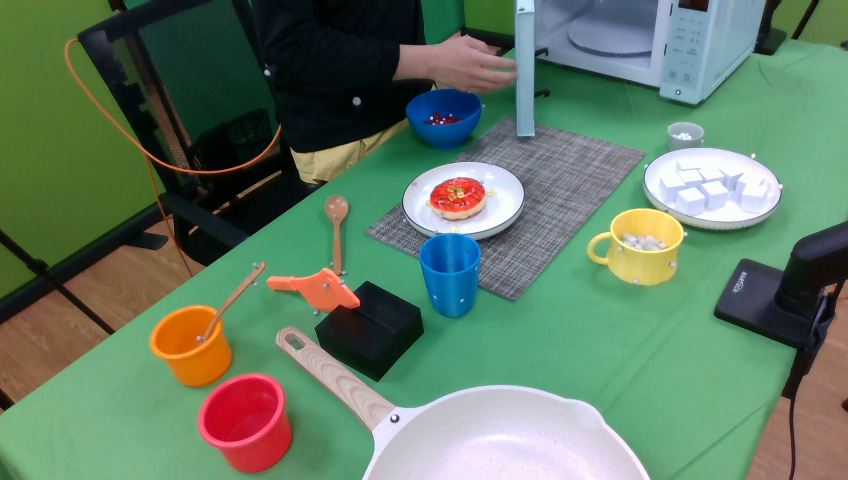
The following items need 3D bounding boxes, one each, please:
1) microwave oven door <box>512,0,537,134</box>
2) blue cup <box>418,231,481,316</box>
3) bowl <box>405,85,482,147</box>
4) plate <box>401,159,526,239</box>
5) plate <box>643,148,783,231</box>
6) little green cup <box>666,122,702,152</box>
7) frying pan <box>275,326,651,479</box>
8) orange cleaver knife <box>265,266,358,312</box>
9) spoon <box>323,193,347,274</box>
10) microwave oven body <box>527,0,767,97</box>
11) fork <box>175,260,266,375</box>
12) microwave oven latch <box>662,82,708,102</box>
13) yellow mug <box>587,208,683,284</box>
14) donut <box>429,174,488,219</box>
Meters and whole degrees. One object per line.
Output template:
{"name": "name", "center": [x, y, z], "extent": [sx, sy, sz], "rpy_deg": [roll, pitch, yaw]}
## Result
{"name": "microwave oven door", "center": [0.202, -0.410, 1.222], "extent": [0.039, 0.245, 0.354], "rpy_deg": [-2, 41, 8]}
{"name": "blue cup", "center": [0.040, 0.053, 0.843], "extent": [0.092, 0.100, 0.092], "rpy_deg": [-4, 43, 4]}
{"name": "bowl", "center": [0.041, -0.237, 1.197], "extent": [0.151, 0.077, 0.150], "rpy_deg": [-4, 41, 4]}
{"name": "plate", "center": [0.067, -0.065, 1.019], "extent": [0.209, 0.038, 0.208], "rpy_deg": [-4, 40, 4]}
{"name": "plate", "center": [0.464, -0.080, 0.986], "extent": [0.207, 0.039, 0.206], "rpy_deg": [-4, 40, 4]}
{"name": "little green cup", "center": [0.471, -0.184, 1.102], "extent": [0.061, 0.039, 0.061], "rpy_deg": [-5, 41, 5]}
{"name": "frying pan", "center": [0.004, 0.229, 0.641], "extent": [0.484, 0.103, 0.308], "rpy_deg": [34, 54, 28]}
{"name": "orange cleaver knife", "center": [-0.164, 0.073, 0.864], "extent": [0.210, 0.077, 0.012], "rpy_deg": [-6, 31, 50]}
{"name": "spoon", "center": [-0.148, -0.014, 1.008], "extent": [0.042, 0.021, 0.192], "rpy_deg": [4, 39, -13]}
{"name": "microwave oven body", "center": [0.473, -0.516, 1.313], "extent": [0.438, 0.261, 0.327], "rpy_deg": [26, 51, 34]}
{"name": "fork", "center": [-0.268, 0.103, 0.792], "extent": [0.207, 0.019, 0.028], "rpy_deg": [-51, 41, 17]}
{"name": "microwave oven latch", "center": [0.517, -0.298, 1.202], "extent": [0.078, 0.029, 0.030], "rpy_deg": [28, 52, 35]}
{"name": "yellow mug", "center": [0.305, 0.009, 0.884], "extent": [0.131, 0.064, 0.099], "rpy_deg": [-4, 41, 5]}
{"name": "donut", "center": [0.058, -0.075, 1.015], "extent": [0.099, 0.048, 0.098], "rpy_deg": [-6, 38, 5]}
